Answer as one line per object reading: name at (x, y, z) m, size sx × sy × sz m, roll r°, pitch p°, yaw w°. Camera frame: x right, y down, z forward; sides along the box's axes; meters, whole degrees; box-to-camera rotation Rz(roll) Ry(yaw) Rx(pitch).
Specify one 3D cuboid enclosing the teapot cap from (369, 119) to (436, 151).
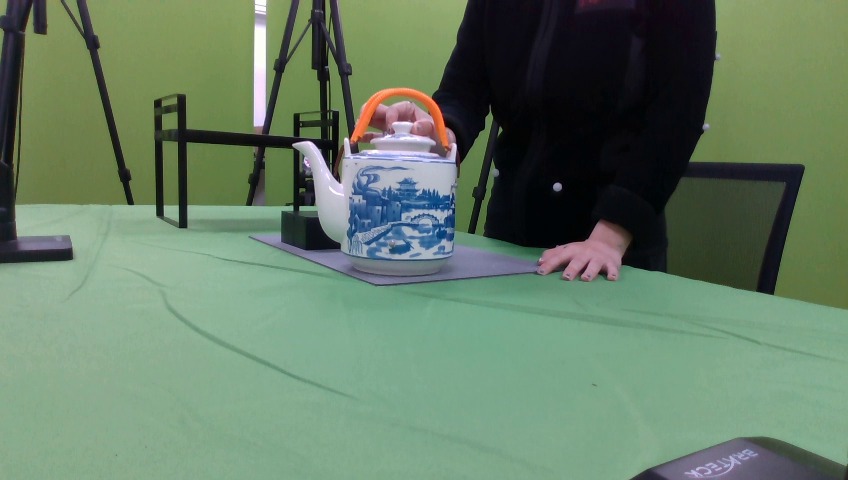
teapot cap at (-0.027, -0.129, 0.756) m, size 0.085 × 0.044 × 0.085 m, roll -1°, pitch 9°, yaw 0°

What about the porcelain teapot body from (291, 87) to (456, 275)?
porcelain teapot body at (-0.060, -0.076, 0.753) m, size 0.206 × 0.225 × 0.145 m, roll 0°, pitch 8°, yaw -12°
